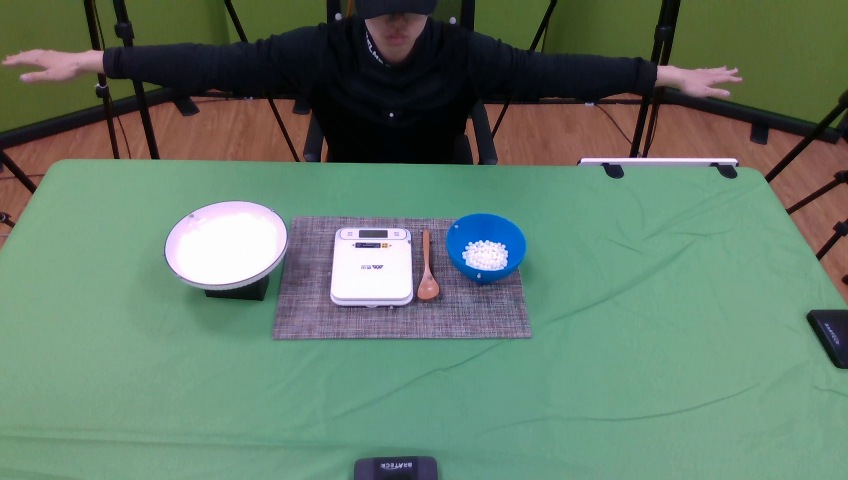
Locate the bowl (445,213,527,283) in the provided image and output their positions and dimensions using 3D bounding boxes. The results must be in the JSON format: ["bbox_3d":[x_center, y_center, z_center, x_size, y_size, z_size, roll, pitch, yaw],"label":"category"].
[{"bbox_3d":[0.112,0.027,1.136,0.151,0.077,0.150,2,46,-2],"label":"bowl"}]

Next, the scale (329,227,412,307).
[{"bbox_3d":[-0.099,0.042,1.139,0.149,0.032,0.199,1,46,-4],"label":"scale"}]

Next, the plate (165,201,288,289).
[{"bbox_3d":[-0.347,0.011,1.082,0.209,0.038,0.208,2,46,-2],"label":"plate"}]

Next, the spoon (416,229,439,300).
[{"bbox_3d":[0.005,0.043,1.152,0.041,0.022,0.192,-9,46,8],"label":"spoon"}]
